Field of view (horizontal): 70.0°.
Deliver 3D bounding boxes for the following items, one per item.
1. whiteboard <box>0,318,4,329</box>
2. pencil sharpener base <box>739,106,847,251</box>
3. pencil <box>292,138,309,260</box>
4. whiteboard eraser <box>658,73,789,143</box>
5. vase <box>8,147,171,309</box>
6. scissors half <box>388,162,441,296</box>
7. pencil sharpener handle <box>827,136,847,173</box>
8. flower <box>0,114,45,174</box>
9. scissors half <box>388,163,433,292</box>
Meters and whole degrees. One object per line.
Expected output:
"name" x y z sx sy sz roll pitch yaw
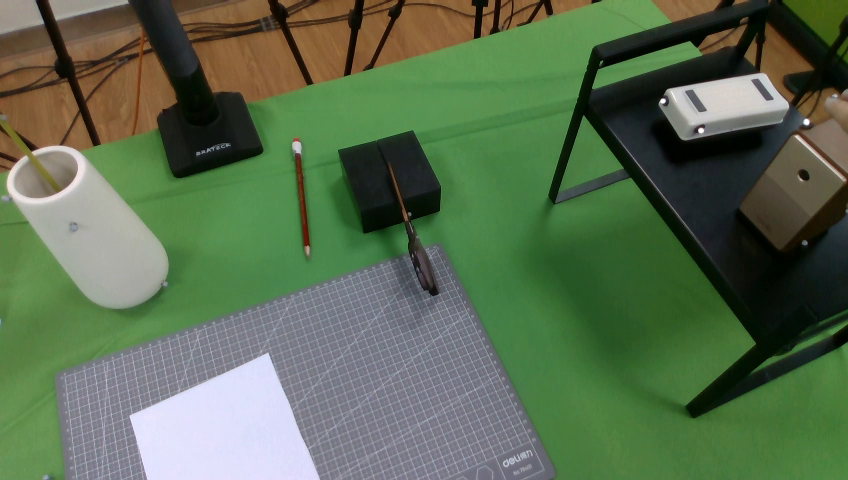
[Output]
"whiteboard" -0.625 0.052 0.564 0.142 0.309 0.216 19 58 33
"pencil sharpener base" 0.337 -0.051 0.518 0.077 0.108 0.061 -24 60 -15
"pencil" -0.158 -0.057 0.780 0.012 0.012 0.192 -8 60 -6
"whiteboard eraser" 0.297 -0.130 0.604 0.113 0.042 0.055 -11 60 -9
"vase" -0.343 -0.007 0.634 0.098 0.201 0.097 0 57 1
"scissors half" -0.014 -0.016 0.717 0.013 0.040 0.174 -22 79 12
"pencil sharpener handle" 0.381 -0.081 0.523 0.031 0.068 0.036 -24 73 -15
"flower" -0.354 -0.060 0.569 0.044 0.365 0.038 -25 44 -12
"scissors half" -0.020 -0.021 0.698 0.013 0.040 0.173 -21 61 7
